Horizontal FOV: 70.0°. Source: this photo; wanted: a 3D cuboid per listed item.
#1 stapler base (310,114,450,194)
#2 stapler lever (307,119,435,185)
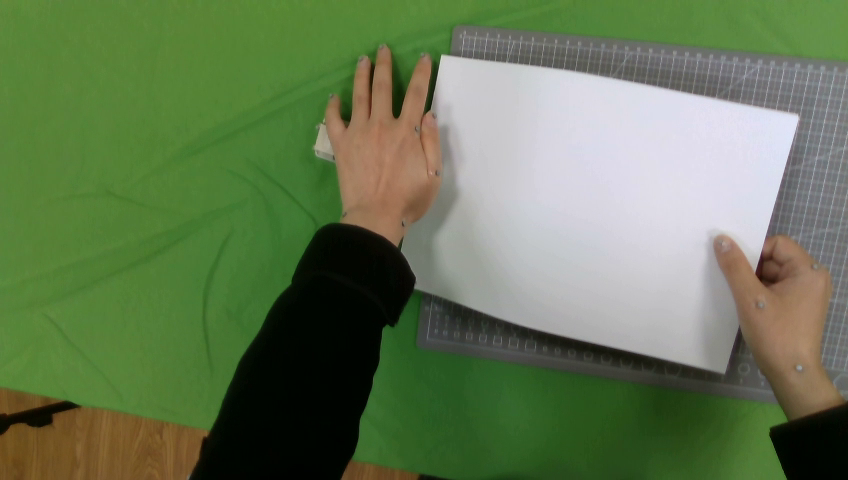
[{"bbox_3d":[-0.043,-0.078,0.550,0.130,0.024,0.041,19,94,7],"label":"stapler base"},{"bbox_3d":[-0.048,-0.077,0.527,0.118,0.040,0.027,19,94,5],"label":"stapler lever"}]
